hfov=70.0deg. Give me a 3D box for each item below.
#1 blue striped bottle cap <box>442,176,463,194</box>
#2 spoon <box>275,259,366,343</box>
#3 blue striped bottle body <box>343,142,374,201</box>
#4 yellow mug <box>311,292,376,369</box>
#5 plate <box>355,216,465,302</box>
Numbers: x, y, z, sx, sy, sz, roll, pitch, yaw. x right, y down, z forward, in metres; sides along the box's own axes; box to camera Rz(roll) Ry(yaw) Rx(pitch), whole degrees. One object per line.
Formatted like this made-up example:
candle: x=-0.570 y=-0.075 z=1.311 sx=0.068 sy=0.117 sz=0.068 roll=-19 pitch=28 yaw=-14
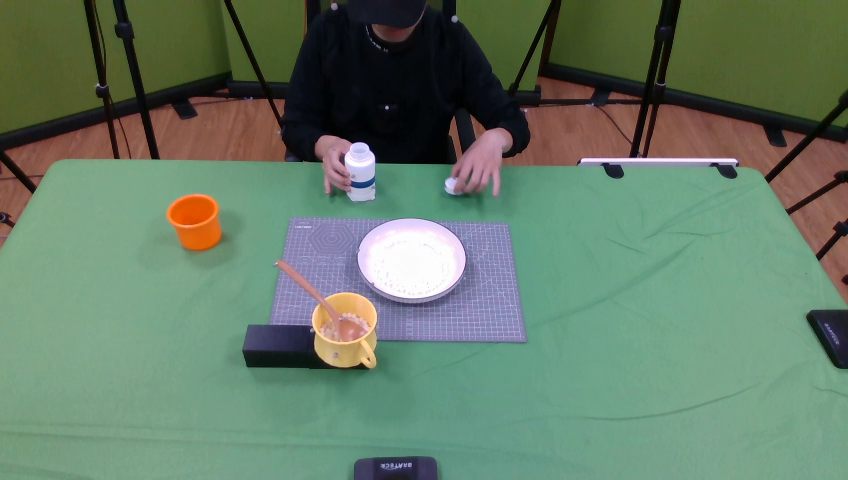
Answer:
blue striped bottle cap: x=0.062 y=-0.118 z=1.298 sx=0.044 sy=0.021 sz=0.044 roll=3 pitch=35 yaw=-2
spoon: x=-0.161 y=0.098 z=0.946 sx=0.194 sy=0.021 sz=0.041 roll=48 pitch=56 yaw=-5
blue striped bottle body: x=-0.135 y=-0.145 z=1.257 sx=0.063 sy=0.121 sz=0.062 roll=3 pitch=46 yaw=-3
yellow mug: x=-0.115 y=0.150 z=0.945 sx=0.100 sy=0.064 sz=0.130 roll=-29 pitch=57 yaw=-28
plate: x=-0.027 y=0.039 z=1.144 sx=0.208 sy=0.039 sz=0.206 roll=2 pitch=46 yaw=-2
